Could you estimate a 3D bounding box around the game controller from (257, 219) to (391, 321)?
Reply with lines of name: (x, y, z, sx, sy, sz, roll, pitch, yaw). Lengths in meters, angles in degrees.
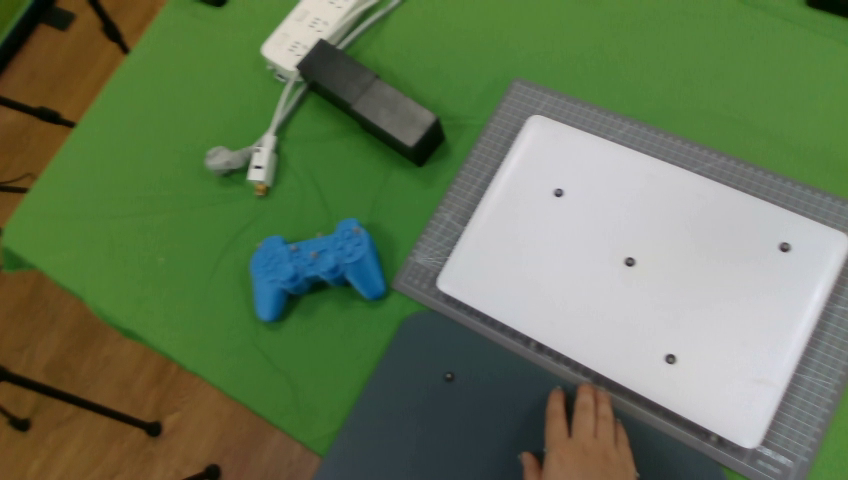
game controller: (-0.120, 0.032, 0.700, 0.155, 0.052, 0.096, -11, 67, 8)

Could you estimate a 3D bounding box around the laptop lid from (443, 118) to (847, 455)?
laptop lid: (0.219, 0.029, 0.627, 0.354, 0.013, 0.241, 28, 82, 20)

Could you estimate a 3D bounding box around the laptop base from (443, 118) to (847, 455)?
laptop base: (0.223, 0.031, 0.638, 0.352, 0.023, 0.235, 27, 83, 19)

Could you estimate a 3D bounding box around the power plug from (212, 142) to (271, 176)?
power plug: (-0.239, -0.107, 0.788, 0.073, 0.035, 0.052, -25, 34, -35)

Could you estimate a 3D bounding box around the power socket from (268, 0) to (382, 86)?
power socket: (-0.121, -0.305, 0.819, 0.071, 0.033, 0.226, 35, 82, 20)

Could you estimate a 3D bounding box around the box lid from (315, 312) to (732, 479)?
box lid: (0.082, 0.256, 0.601, 0.369, 0.015, 0.262, 27, 79, 19)

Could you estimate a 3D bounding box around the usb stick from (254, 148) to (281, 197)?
usb stick: (-0.198, -0.084, 0.764, 0.021, 0.027, 0.059, 6, 80, 7)
